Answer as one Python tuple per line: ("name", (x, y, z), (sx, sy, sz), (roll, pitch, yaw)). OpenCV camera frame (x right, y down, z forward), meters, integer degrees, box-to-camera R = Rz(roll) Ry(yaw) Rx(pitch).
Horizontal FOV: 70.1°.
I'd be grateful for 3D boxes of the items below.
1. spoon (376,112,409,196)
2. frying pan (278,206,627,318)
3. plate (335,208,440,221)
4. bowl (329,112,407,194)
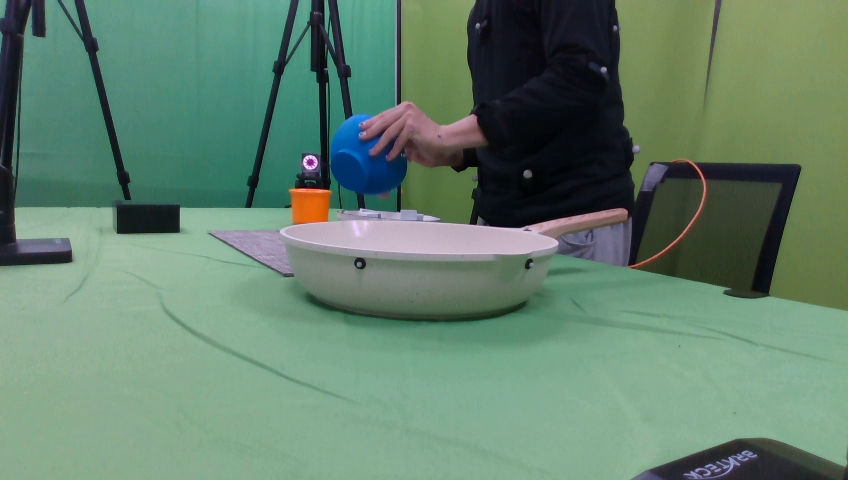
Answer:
("spoon", (-0.061, -0.175, 1.211), (0.041, 0.193, 0.022), (4, -27, 29))
("frying pan", (0.079, 0.002, 0.705), (0.490, 0.102, 0.305), (-12, 15, -33))
("plate", (-0.073, -0.035, 1.196), (0.208, 0.039, 0.207), (4, 6, 0))
("bowl", (-0.114, -0.140, 1.062), (0.151, 0.151, 0.077), (7, 33, 31))
